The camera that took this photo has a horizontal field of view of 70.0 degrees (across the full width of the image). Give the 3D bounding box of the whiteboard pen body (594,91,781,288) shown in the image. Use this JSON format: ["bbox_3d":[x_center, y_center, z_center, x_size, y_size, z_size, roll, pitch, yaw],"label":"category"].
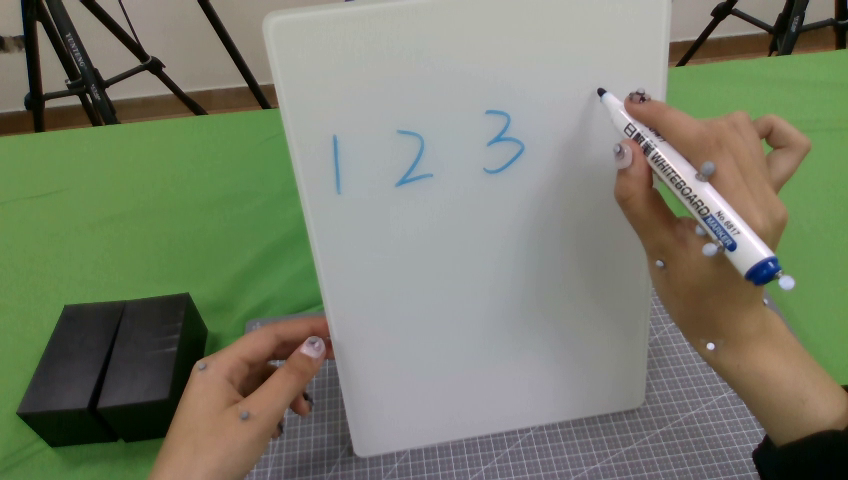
[{"bbox_3d":[0.122,-0.033,0.300,0.017,0.017,0.139,-17,53,-13],"label":"whiteboard pen body"}]

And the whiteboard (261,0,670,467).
[{"bbox_3d":[0.033,-0.020,0.434,0.217,0.307,0.142,-8,26,-3],"label":"whiteboard"}]
